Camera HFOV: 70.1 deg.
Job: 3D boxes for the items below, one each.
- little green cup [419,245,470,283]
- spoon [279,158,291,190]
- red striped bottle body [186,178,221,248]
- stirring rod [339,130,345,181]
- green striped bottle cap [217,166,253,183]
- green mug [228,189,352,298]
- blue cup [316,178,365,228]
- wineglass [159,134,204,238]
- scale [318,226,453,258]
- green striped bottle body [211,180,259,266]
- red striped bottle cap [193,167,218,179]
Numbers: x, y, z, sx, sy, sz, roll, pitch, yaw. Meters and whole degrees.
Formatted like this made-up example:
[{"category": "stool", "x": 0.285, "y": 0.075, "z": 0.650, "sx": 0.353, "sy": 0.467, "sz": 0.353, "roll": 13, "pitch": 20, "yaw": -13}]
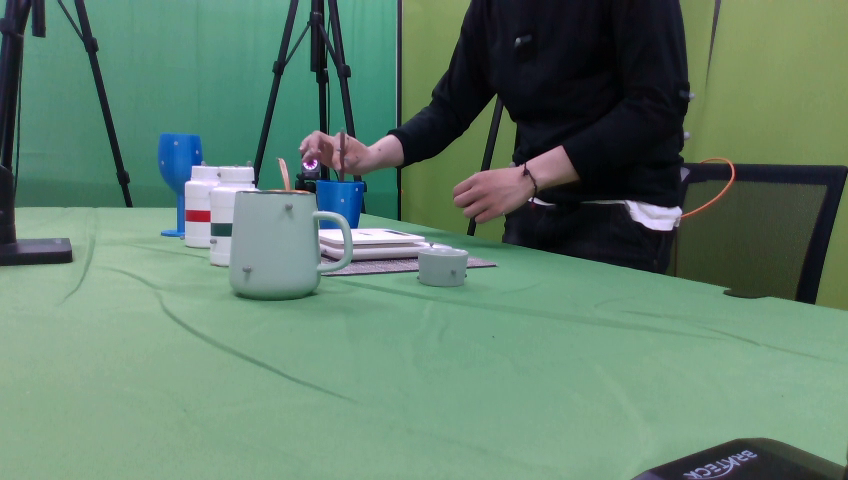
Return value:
[{"category": "little green cup", "x": 0.023, "y": 0.028, "z": 0.712, "sx": 0.061, "sy": 0.038, "sz": 0.061, "roll": 2, "pitch": 6, "yaw": 0}, {"category": "spoon", "x": -0.281, "y": -0.103, "z": 1.251, "sx": 0.042, "sy": 0.193, "sz": 0.021, "roll": 4, "pitch": -38, "yaw": -28}, {"category": "red striped bottle body", "x": -0.331, "y": -0.050, "z": 0.927, "sx": 0.063, "sy": 0.119, "sz": 0.063, "roll": 2, "pitch": 6, "yaw": 0}, {"category": "stirring rod", "x": -0.147, "y": -0.108, "z": 1.081, "sx": 0.006, "sy": 0.176, "sz": 0.014, "roll": -3, "pitch": 9, "yaw": -36}, {"category": "green striped bottle cap", "x": -0.242, "y": -0.085, "z": 0.777, "sx": 0.044, "sy": 0.020, "sz": 0.044, "roll": 2, "pitch": 9, "yaw": 0}, {"category": "green mug", "x": -0.135, "y": 0.002, "z": 0.618, "sx": 0.125, "sy": 0.105, "sz": 0.092, "roll": 2, "pitch": 7, "yaw": 4}, {"category": "blue cup", "x": -0.149, "y": -0.056, "z": 1.071, "sx": 0.093, "sy": 0.100, "sz": 0.092, "roll": 3, "pitch": 8, "yaw": 0}, {"category": "wineglass", "x": -0.415, "y": -0.093, "z": 1.040, "sx": 0.074, "sy": 0.172, "sz": 0.073, "roll": 2, "pitch": 7, "yaw": 0}, {"category": "scale", "x": -0.066, "y": 0.001, "z": 0.906, "sx": 0.202, "sy": 0.031, "sz": 0.148, "roll": -2, "pitch": 8, "yaw": -31}, {"category": "green striped bottle body", "x": -0.243, "y": -0.029, "z": 0.784, "sx": 0.063, "sy": 0.119, "sz": 0.063, "roll": 2, "pitch": 7, "yaw": 0}, {"category": "red striped bottle cap", "x": -0.329, "y": -0.102, "z": 0.921, "sx": 0.044, "sy": 0.017, "sz": 0.044, "roll": 0, "pitch": 9, "yaw": 0}]
